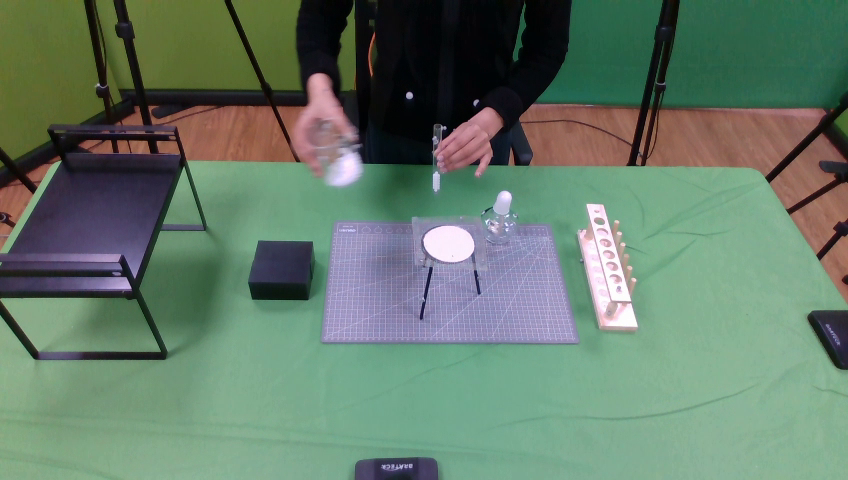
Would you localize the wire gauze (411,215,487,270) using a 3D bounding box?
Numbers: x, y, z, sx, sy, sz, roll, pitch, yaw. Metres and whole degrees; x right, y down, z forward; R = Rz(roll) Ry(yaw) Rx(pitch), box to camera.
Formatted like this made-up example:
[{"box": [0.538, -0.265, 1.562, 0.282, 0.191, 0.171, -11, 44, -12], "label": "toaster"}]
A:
[{"box": [0.041, 0.002, 1.026, 0.125, 0.011, 0.120, 1, 46, -3], "label": "wire gauze"}]

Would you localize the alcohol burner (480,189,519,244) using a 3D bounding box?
[{"box": [0.150, -0.051, 1.191, 0.078, 0.120, 0.077, 1, 46, -1], "label": "alcohol burner"}]

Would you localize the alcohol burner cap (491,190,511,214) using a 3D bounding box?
[{"box": [0.151, -0.076, 1.166, 0.034, 0.048, 0.033, 5, 52, -6], "label": "alcohol burner cap"}]

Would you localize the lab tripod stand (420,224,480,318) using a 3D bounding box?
[{"box": [0.034, 0.051, 1.071, 0.148, 0.132, 0.147, 3, 48, -3], "label": "lab tripod stand"}]

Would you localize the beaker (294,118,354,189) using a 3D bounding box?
[{"box": [-0.159, -0.141, 1.005, 0.084, 0.101, 0.073, -7, 51, 7], "label": "beaker"}]

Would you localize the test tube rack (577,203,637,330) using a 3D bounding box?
[{"box": [0.349, 0.045, 1.138, 0.067, 0.085, 0.241, 2, 46, -2], "label": "test tube rack"}]

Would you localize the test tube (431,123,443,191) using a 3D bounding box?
[{"box": [0.023, -0.147, 1.100, 0.017, 0.151, 0.017, 1, 46, -1], "label": "test tube"}]
